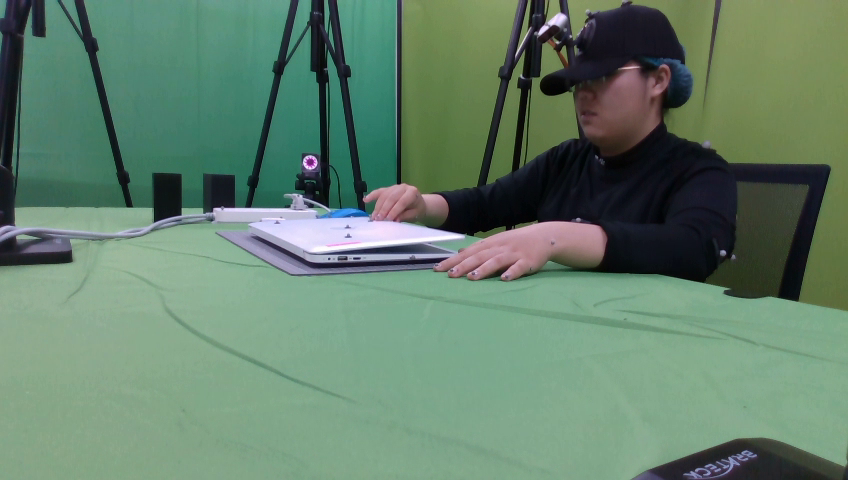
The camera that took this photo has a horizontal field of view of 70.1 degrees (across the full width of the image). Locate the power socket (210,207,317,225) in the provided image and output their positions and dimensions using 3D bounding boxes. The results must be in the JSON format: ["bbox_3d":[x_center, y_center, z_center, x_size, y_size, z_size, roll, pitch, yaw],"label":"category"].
[{"bbox_3d":[-0.334,-0.051,1.281,0.228,0.032,0.072,-1,8,-28],"label":"power socket"}]

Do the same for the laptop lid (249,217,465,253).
[{"bbox_3d":[-0.122,-0.015,0.953,0.243,0.013,0.355,-3,9,-27],"label":"laptop lid"}]

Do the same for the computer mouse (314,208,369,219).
[{"bbox_3d":[-0.174,-0.047,1.292,0.118,0.041,0.062,-7,13,-34],"label":"computer mouse"}]

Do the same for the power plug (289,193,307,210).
[{"bbox_3d":[-0.281,-0.076,1.340,0.035,0.052,0.072,3,5,-17],"label":"power plug"}]

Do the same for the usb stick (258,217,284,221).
[{"bbox_3d":[-0.290,-0.028,1.119,0.059,0.027,0.021,-3,12,-29],"label":"usb stick"}]

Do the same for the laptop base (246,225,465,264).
[{"bbox_3d":[-0.124,0.006,0.955,0.237,0.023,0.352,2,6,-30],"label":"laptop base"}]
